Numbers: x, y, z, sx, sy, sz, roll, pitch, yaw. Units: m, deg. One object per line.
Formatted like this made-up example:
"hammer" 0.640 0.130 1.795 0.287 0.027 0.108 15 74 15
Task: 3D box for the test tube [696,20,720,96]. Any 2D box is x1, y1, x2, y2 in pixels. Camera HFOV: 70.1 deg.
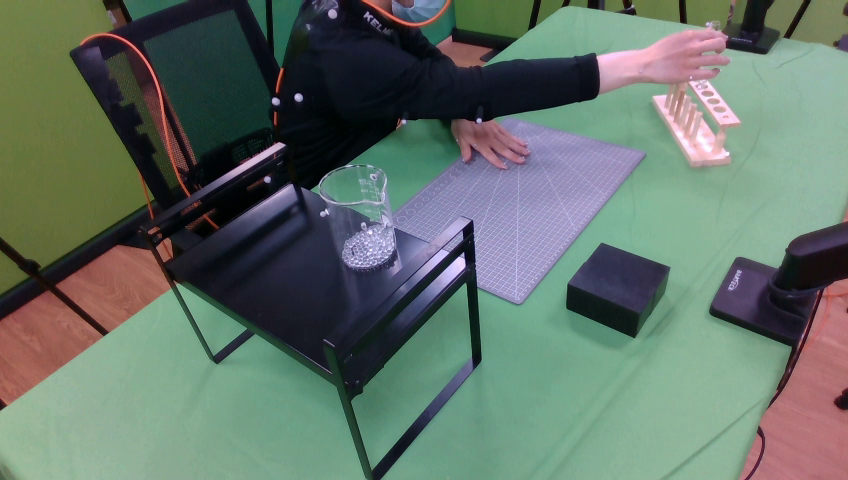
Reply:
"test tube" 0.506 -0.319 1.080 0.017 0.151 0.017 -5 45 5

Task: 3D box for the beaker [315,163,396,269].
"beaker" -0.069 -0.024 0.671 0.083 0.101 0.074 27 52 32

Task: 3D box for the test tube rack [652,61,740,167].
"test tube rack" 0.500 -0.241 1.130 0.067 0.085 0.241 -5 41 4
